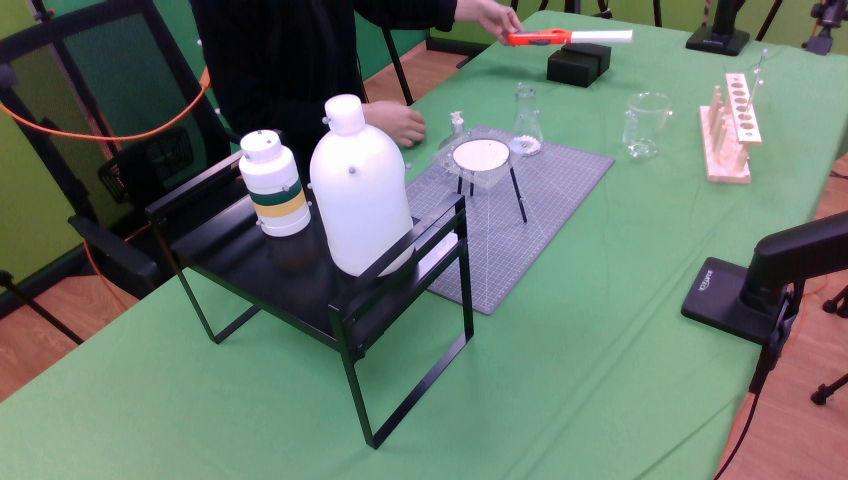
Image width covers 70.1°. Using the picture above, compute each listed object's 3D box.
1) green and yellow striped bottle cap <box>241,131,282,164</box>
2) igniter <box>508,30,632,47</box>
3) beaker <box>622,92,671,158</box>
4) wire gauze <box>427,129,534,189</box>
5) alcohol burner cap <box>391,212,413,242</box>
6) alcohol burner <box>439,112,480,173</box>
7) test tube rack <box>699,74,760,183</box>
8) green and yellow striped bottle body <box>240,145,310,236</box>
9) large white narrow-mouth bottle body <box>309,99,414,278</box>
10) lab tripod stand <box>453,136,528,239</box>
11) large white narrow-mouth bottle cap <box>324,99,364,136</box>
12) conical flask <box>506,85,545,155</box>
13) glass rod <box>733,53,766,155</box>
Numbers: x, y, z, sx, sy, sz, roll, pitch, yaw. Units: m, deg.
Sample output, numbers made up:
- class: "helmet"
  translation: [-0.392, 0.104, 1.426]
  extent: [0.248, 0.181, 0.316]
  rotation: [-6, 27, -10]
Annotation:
- class: "green and yellow striped bottle cap"
  translation: [-0.187, -0.107, 0.695]
  extent: [0.045, 0.020, 0.045]
  rotation: [-3, 39, 3]
- class: "igniter"
  translation: [0.319, -0.450, 1.350]
  extent: [0.275, 0.025, 0.057]
  rotation: [7, 49, 21]
- class: "beaker"
  translation: [0.402, -0.210, 1.106]
  extent: [0.074, 0.101, 0.083]
  rotation: [-9, 40, -2]
- class: "wire gauze"
  translation: [0.086, -0.131, 0.923]
  extent: [0.124, 0.011, 0.122]
  rotation: [26, 52, 33]
- class: "alcohol burner cap"
  translation: [-0.038, -0.023, 0.989]
  extent: [0.034, 0.048, 0.033]
  rotation: [-5, 40, 4]
- class: "alcohol burner"
  translation: [0.064, -0.183, 1.107]
  extent: [0.078, 0.119, 0.077]
  rotation: [-4, 43, 4]
- class: "test tube rack"
  translation: [0.547, -0.208, 1.095]
  extent: [0.066, 0.085, 0.242]
  rotation: [6, 42, 16]
- class: "green and yellow striped bottle body"
  translation: [-0.181, -0.068, 0.729]
  extent: [0.063, 0.120, 0.063]
  rotation: [-4, 40, 4]
- class: "large white narrow-mouth bottle body"
  translation: [-0.068, -0.057, 0.644]
  extent: [0.102, 0.195, 0.101]
  rotation: [-4, 42, 4]
- class: "lab tripod stand"
  translation: [0.094, -0.086, 0.974]
  extent: [0.148, 0.132, 0.147]
  rotation: [-4, 43, 4]
- class: "large white narrow-mouth bottle cap"
  translation: [-0.077, -0.119, 0.586]
  extent: [0.038, 0.024, 0.037]
  rotation: [-3, 42, 4]
- class: "conical flask"
  translation: [0.190, -0.227, 1.134]
  extent: [0.075, 0.122, 0.075]
  rotation: [-4, 41, 4]
- class: "glass rod"
  translation: [0.540, -0.219, 1.006]
  extent: [0.008, 0.201, 0.008]
  rotation: [-5, 45, 6]
